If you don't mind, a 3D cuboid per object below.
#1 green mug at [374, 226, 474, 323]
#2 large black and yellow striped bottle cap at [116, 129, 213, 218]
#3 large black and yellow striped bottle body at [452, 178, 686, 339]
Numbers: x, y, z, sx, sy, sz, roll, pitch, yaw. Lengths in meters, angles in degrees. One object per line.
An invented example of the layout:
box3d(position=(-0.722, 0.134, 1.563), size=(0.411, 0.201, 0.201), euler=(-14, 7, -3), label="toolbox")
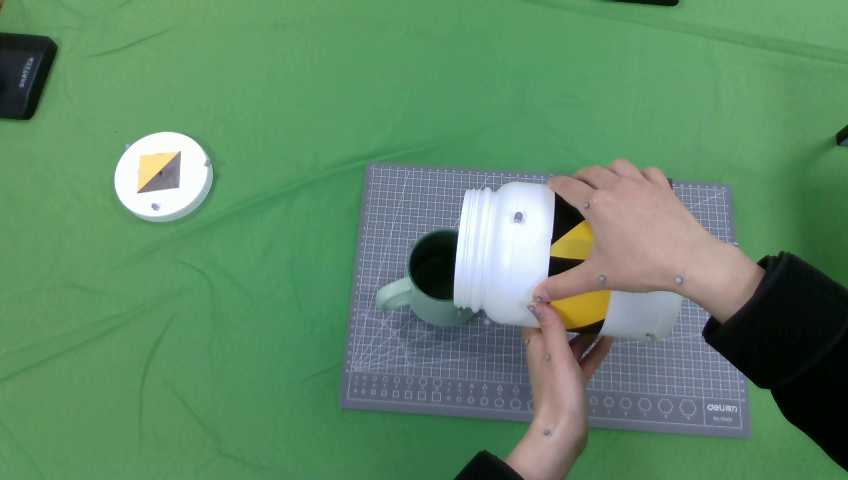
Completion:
box3d(position=(0.006, 0.044, 0.655), size=(0.125, 0.105, 0.092), euler=(-21, 73, -6), label="green mug")
box3d(position=(-0.320, -0.083, 0.746), size=(0.115, 0.019, 0.114), euler=(0, 71, 0), label="large black and yellow striped bottle cap")
box3d(position=(0.122, 0.014, 0.541), size=(0.184, 0.131, 0.130), euler=(6, 72, 7), label="large black and yellow striped bottle body")
